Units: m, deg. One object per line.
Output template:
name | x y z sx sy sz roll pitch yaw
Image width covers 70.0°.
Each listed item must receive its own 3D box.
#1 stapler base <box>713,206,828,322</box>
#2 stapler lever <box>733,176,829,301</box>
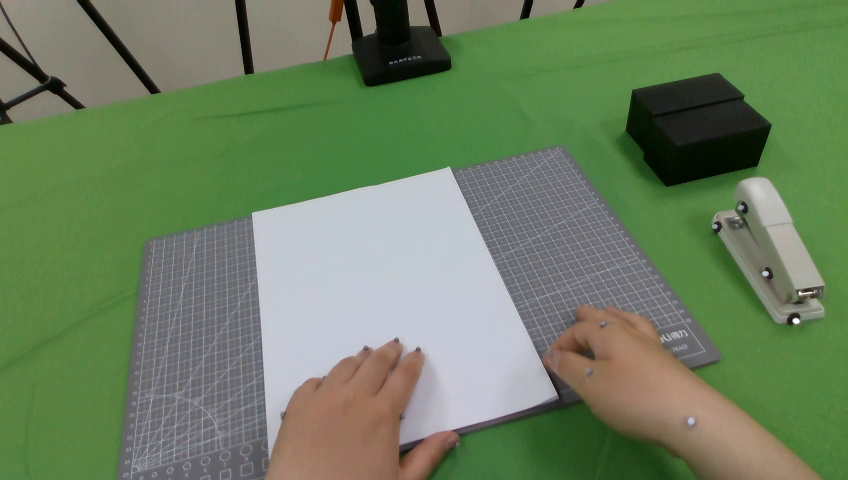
stapler base | 0.292 0.011 0.515 0.041 0.025 0.129 -10 46 1
stapler lever | 0.290 -0.006 0.496 0.027 0.040 0.117 -10 46 1
